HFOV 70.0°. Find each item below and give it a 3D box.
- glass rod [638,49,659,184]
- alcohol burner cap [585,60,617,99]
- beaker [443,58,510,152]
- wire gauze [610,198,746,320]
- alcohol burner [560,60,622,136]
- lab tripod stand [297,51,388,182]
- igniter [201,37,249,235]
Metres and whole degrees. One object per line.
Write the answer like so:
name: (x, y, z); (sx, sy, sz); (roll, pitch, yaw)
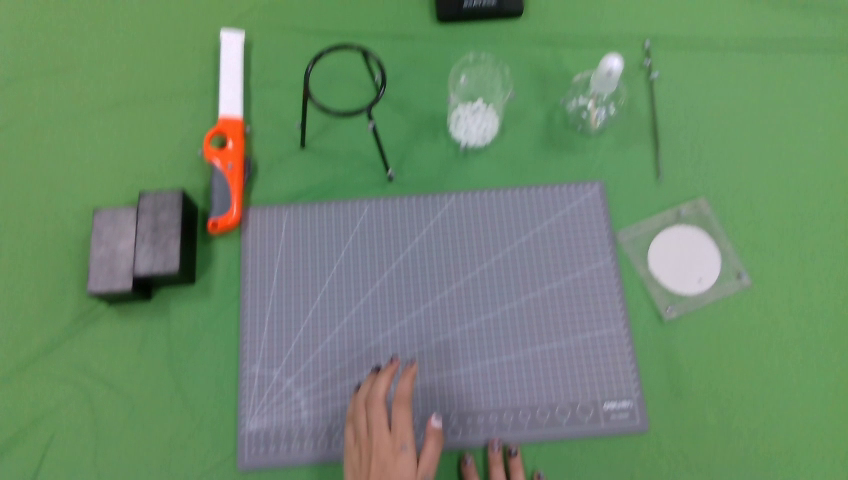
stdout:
glass rod: (0.294, -0.166, 0.796); (0.008, 0.008, 0.198); (1, 72, -1)
alcohol burner cap: (0.210, -0.191, 0.709); (0.034, 0.048, 0.033); (0, 76, 2)
beaker: (0.059, -0.162, 0.743); (0.074, 0.101, 0.083); (-13, 71, -6)
wire gauze: (0.309, 0.021, 0.734); (0.125, 0.011, 0.120); (-22, 73, -6)
alcohol burner: (0.209, -0.179, 0.744); (0.078, 0.120, 0.077); (0, 69, 0)
lab tripod stand: (-0.091, -0.151, 0.719); (0.148, 0.132, 0.147); (0, 70, 1)
igniter: (-0.250, -0.137, 0.766); (0.057, 0.025, 0.274); (1, 71, -16)
